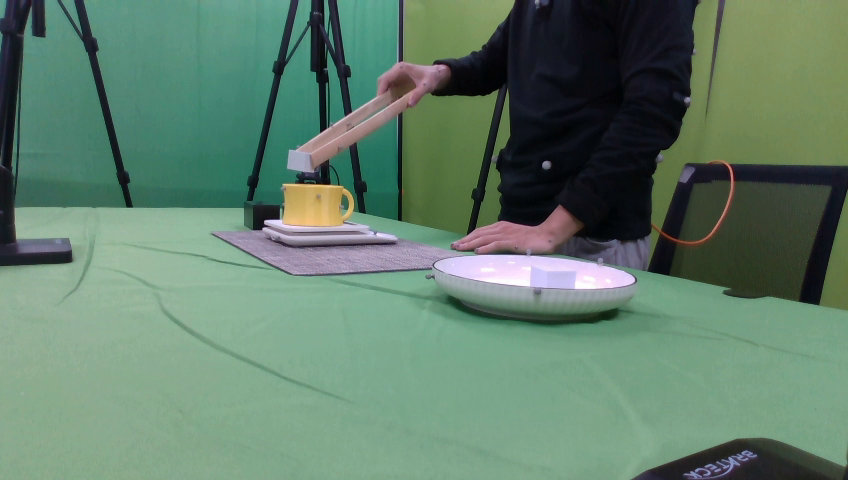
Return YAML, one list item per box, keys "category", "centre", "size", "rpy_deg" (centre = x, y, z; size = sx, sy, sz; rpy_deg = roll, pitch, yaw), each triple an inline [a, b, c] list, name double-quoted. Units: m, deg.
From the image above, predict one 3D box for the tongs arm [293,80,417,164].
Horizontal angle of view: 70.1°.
- category: "tongs arm"
  centre: [-0.113, -0.229, 1.127]
  size: [0.050, 0.026, 0.385]
  rpy_deg: [7, 33, 24]

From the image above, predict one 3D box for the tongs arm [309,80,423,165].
- category: "tongs arm"
  centre: [-0.092, -0.225, 1.116]
  size: [0.028, 0.028, 0.388]
  rpy_deg: [6, 32, 30]

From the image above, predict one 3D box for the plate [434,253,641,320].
- category: "plate"
  centre: [0.114, 0.047, 0.626]
  size: [0.208, 0.039, 0.207]
  rpy_deg: [2, 7, 0]

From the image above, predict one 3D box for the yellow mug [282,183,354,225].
- category: "yellow mug"
  centre: [-0.172, -0.061, 1.009]
  size: [0.131, 0.064, 0.099]
  rpy_deg: [-2, 7, -41]

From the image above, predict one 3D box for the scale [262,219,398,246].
- category: "scale"
  centre: [-0.160, -0.016, 1.028]
  size: [0.202, 0.031, 0.148]
  rpy_deg: [-2, 8, -31]
